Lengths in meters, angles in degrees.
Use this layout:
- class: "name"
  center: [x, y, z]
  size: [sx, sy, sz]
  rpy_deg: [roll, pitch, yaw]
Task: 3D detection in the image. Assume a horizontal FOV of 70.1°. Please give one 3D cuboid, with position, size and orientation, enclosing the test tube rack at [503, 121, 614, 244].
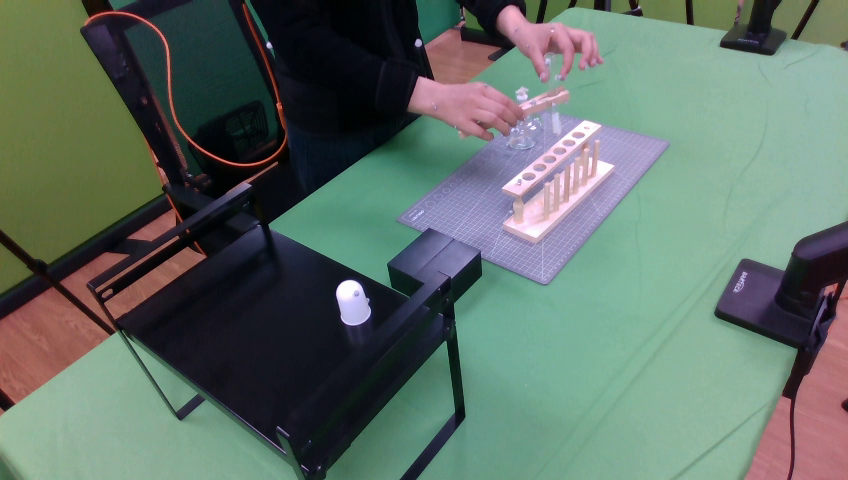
- class: "test tube rack"
  center: [0.230, -0.102, 1.006]
  size: [0.066, 0.085, 0.243]
  rpy_deg: [26, 50, 34]

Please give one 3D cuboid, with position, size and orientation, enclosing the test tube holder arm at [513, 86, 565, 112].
- class: "test tube holder arm"
  center: [0.178, -0.213, 0.935]
  size: [0.088, 0.015, 0.010]
  rpy_deg: [-27, 47, -7]

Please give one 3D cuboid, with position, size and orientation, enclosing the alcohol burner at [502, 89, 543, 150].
- class: "alcohol burner"
  center: [0.186, -0.233, 1.147]
  size: [0.078, 0.119, 0.077]
  rpy_deg: [-4, 42, 5]

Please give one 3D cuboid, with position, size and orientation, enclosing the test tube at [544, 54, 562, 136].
- class: "test tube"
  center: [0.200, -0.220, 0.934]
  size: [0.017, 0.151, 0.017]
  rpy_deg: [-9, 49, 11]

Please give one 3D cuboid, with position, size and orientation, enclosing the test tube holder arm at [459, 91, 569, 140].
- class: "test tube holder arm"
  center: [0.138, -0.192, 0.929]
  size: [0.178, 0.015, 0.013]
  rpy_deg: [-22, 47, -2]

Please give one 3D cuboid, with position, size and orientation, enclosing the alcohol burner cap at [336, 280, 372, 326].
- class: "alcohol burner cap"
  center: [-0.073, 0.061, 0.619]
  size: [0.034, 0.048, 0.033]
  rpy_deg: [-4, 41, 4]
